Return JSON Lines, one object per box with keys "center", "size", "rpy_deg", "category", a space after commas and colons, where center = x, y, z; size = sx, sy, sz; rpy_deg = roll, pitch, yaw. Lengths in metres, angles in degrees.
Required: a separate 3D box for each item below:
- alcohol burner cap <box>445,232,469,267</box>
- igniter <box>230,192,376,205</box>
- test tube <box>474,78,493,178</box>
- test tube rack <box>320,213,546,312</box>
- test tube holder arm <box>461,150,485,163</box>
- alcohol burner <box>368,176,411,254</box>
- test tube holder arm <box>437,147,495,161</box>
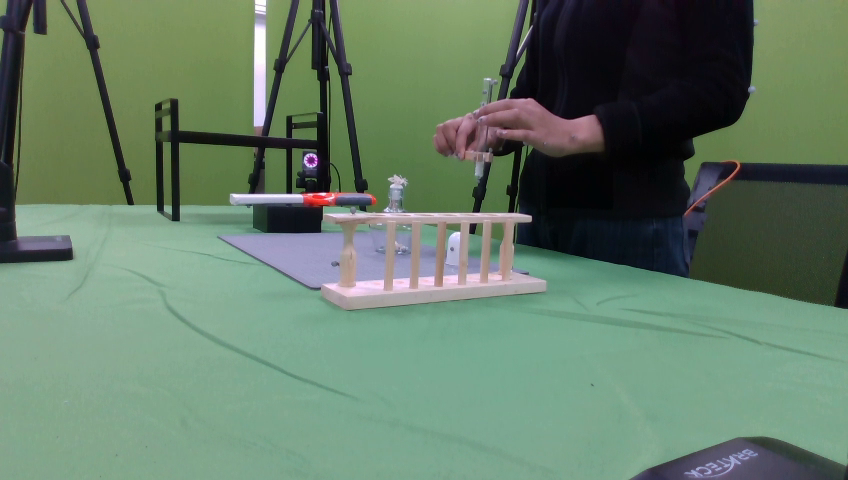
{"center": [0.045, 0.013, 0.829], "size": [0.034, 0.048, 0.034], "rpy_deg": [2, 7, 0], "category": "alcohol burner cap"}
{"center": [-0.226, -0.079, 1.161], "size": [0.278, 0.025, 0.057], "rpy_deg": [-2, 15, -28], "category": "igniter"}
{"center": [0.089, -0.168, 0.914], "size": [0.017, 0.150, 0.017], "rpy_deg": [4, 12, -1], "category": "test tube"}
{"center": [0.018, 0.017, 0.638], "size": [0.244, 0.085, 0.066], "rpy_deg": [-2, 9, -31], "category": "test tube rack"}
{"center": [0.075, -0.131, 0.941], "size": [0.010, 0.015, 0.087], "rpy_deg": [-7, 14, -13], "category": "test tube holder arm"}
{"center": [-0.045, -0.038, 0.912], "size": [0.078, 0.119, 0.078], "rpy_deg": [4, 7, 0], "category": "alcohol burner"}
{"center": [0.064, -0.140, 0.983], "size": [0.013, 0.015, 0.177], "rpy_deg": [-9, 14, -23], "category": "test tube holder arm"}
